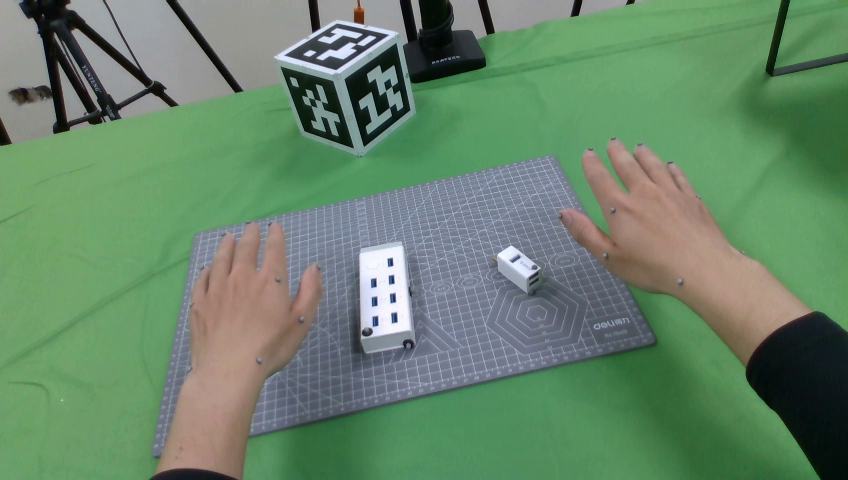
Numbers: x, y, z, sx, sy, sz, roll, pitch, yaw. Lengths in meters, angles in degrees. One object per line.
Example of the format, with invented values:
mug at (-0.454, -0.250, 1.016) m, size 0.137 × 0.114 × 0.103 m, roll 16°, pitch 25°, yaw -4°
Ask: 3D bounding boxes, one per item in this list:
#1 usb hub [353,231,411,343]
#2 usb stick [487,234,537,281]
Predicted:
usb hub at (-0.044, 0.043, 0.603) m, size 0.049 × 0.025 × 0.124 m, roll -11°, pitch 43°, yaw 2°
usb stick at (0.085, 0.014, 0.603) m, size 0.021 × 0.027 × 0.058 m, roll -35°, pitch 45°, yaw -18°
